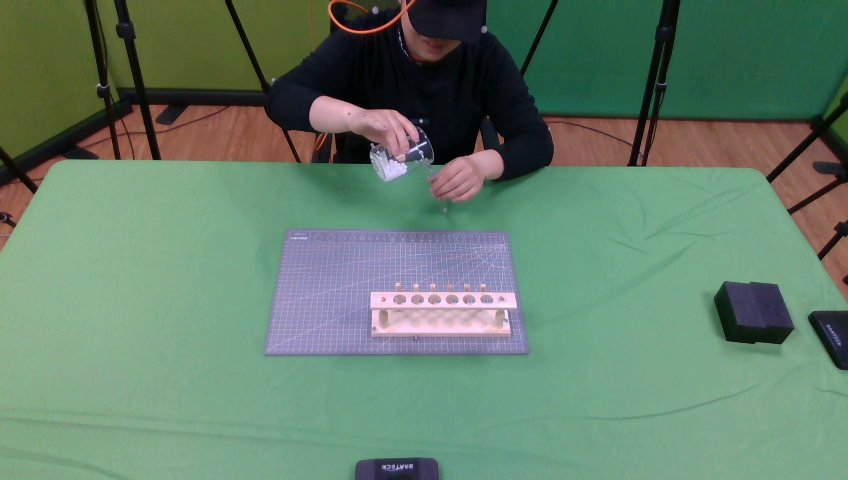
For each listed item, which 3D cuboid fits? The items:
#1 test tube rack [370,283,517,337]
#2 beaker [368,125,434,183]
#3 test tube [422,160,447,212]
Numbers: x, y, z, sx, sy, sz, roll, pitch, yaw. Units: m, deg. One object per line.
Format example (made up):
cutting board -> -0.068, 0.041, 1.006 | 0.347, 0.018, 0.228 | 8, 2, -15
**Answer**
test tube rack -> 0.030, 0.116, 1.041 | 0.242, 0.085, 0.066 | 1, 46, -4
beaker -> -0.043, -0.153, 1.108 | 0.100, 0.084, 0.073 | -28, 45, -15
test tube -> 0.022, -0.104, 1.204 | 0.017, 0.151, 0.017 | -9, 53, 12
